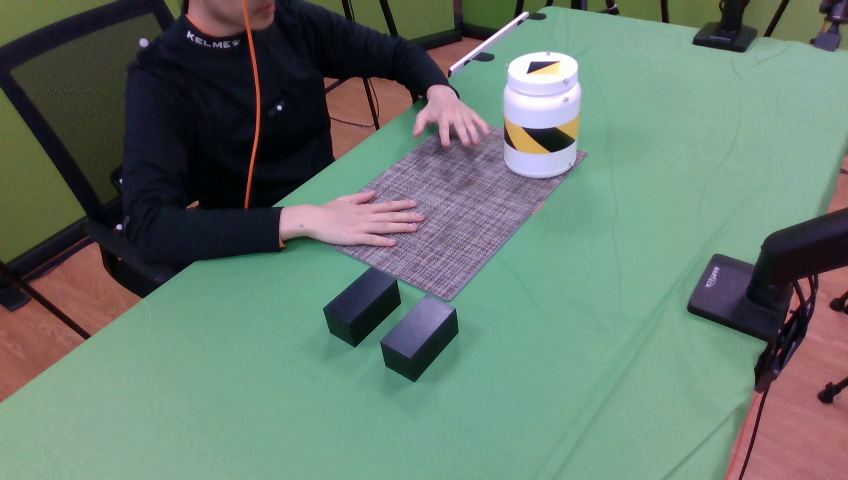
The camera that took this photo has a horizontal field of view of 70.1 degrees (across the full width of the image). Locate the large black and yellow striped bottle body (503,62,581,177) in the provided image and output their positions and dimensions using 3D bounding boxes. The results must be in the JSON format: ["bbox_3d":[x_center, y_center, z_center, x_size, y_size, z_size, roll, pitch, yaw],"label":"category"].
[{"bbox_3d":[0.206,-0.218,1.061,0.131,0.185,0.130,-4,41,4],"label":"large black and yellow striped bottle body"}]

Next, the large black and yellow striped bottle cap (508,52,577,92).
[{"bbox_3d":[0.197,-0.281,1.008,0.115,0.019,0.114,-4,42,4],"label":"large black and yellow striped bottle cap"}]
